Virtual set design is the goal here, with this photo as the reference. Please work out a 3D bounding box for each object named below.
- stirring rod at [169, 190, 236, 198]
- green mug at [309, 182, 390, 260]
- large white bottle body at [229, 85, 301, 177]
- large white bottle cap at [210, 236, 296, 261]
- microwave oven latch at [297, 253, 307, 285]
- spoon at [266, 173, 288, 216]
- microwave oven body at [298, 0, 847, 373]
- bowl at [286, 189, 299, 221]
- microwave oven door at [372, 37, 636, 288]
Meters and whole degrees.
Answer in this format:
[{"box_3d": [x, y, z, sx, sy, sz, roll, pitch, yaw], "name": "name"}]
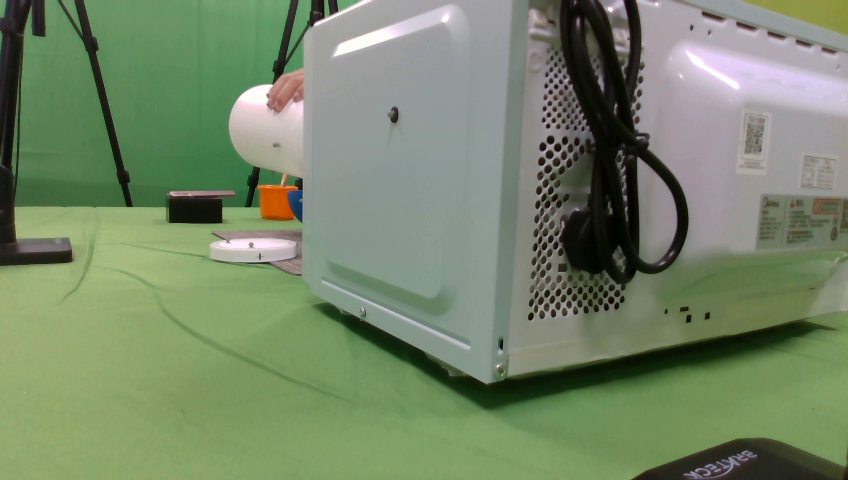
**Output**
[{"box_3d": [-0.465, -0.098, 1.283, 0.014, 0.006, 0.177, 42, 22, 17], "name": "stirring rod"}, {"box_3d": [-0.102, -0.029, 0.864, 0.126, 0.105, 0.092, -4, 8, -40], "name": "green mug"}, {"box_3d": [-0.187, -0.160, 0.903, 0.183, 0.130, 0.131, 17, 15, 39], "name": "large white bottle body"}, {"box_3d": [-0.236, 0.011, 0.839, 0.115, 0.018, 0.115, -1, 10, 0], "name": "large white bottle cap"}, {"box_3d": [-0.082, 0.027, 0.582, 0.079, 0.029, 0.030, -1, 7, -32], "name": "microwave oven latch"}, {"box_3d": [-0.333, -0.128, 1.424, 0.041, 0.193, 0.022, 0, -37, 7], "name": "spoon"}, {"box_3d": [0.151, -0.055, 0.543, 0.444, 0.260, 0.324, -1, 8, -33], "name": "microwave oven body"}, {"box_3d": [-0.179, -0.051, 1.115, 0.151, 0.077, 0.151, 3, 8, 0], "name": "bowl"}, {"box_3d": [0.110, -0.080, 0.687, 0.358, 0.243, 0.039, -2, 9, -33], "name": "microwave oven door"}]
